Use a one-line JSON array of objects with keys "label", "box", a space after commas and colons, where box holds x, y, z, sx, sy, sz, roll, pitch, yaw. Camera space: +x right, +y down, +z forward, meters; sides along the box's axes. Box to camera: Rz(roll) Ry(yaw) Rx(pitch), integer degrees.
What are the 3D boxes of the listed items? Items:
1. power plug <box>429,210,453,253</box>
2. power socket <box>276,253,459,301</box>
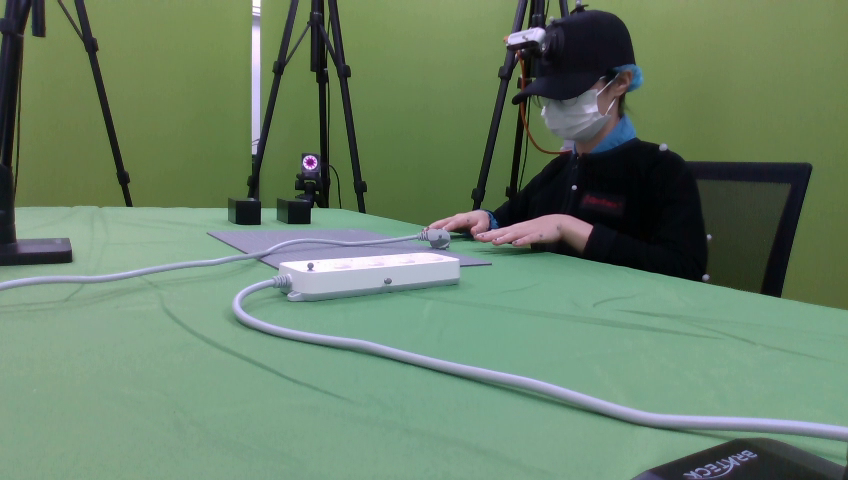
[{"label": "power plug", "box": [0.024, -0.014, 0.983, 0.035, 0.072, 0.053, 16, 53, 19]}, {"label": "power socket", "box": [-0.056, 0.037, 0.674, 0.228, 0.032, 0.072, -3, 8, -38]}]
